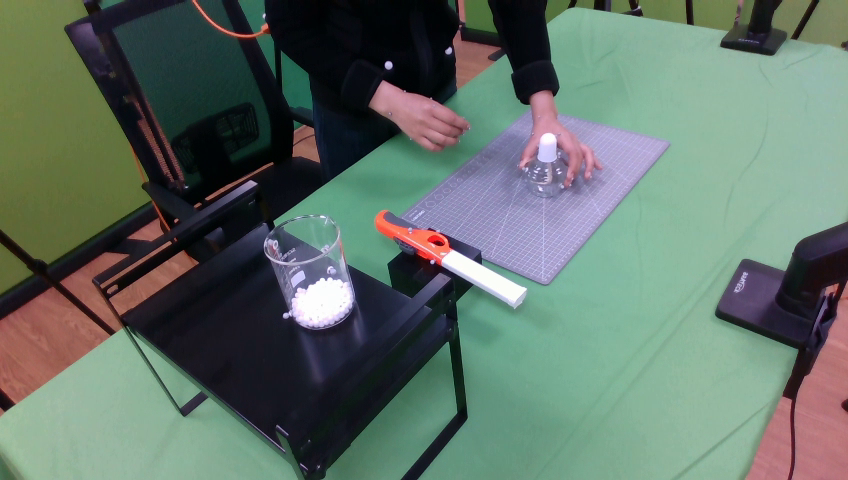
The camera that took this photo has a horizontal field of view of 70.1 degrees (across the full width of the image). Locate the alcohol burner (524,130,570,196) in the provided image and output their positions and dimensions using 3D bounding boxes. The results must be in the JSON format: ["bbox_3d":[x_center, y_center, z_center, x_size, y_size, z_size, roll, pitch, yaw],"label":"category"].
[{"bbox_3d":[0.208,-0.134,1.023,0.078,0.119,0.077,-4,43,4],"label":"alcohol burner"}]

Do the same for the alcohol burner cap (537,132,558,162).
[{"bbox_3d":[0.206,-0.158,1.003,0.034,0.048,0.033,-4,45,4],"label":"alcohol burner cap"}]

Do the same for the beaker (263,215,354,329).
[{"bbox_3d":[-0.112,0.034,0.616,0.073,0.101,0.084,13,44,23],"label":"beaker"}]

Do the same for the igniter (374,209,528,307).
[{"bbox_3d":[0.027,0.019,0.873,0.274,0.025,0.057,29,52,30],"label":"igniter"}]
